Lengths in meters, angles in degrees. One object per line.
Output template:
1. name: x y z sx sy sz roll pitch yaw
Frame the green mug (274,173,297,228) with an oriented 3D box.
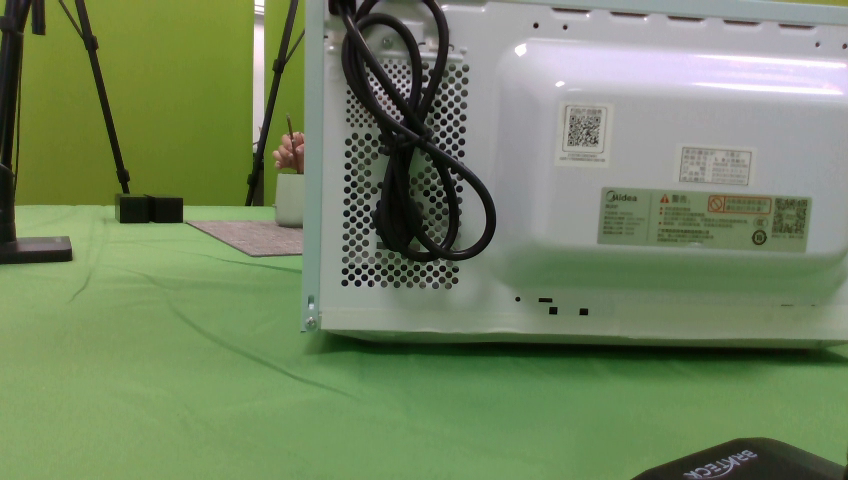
1. green mug: -0.242 -0.081 1.221 0.092 0.105 0.126 8 9 40

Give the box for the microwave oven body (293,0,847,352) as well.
1. microwave oven body: 0.122 -0.055 0.550 0.442 0.260 0.325 3 7 -5

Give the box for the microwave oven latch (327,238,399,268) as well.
1. microwave oven latch: -0.069 0.015 0.694 0.079 0.029 0.030 3 7 -3

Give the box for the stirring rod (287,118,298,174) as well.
1. stirring rod: -0.254 -0.154 1.199 0.006 0.176 0.014 -9 11 -4

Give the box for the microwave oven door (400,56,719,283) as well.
1. microwave oven door: 0.155 -0.078 0.697 0.356 0.243 0.039 2 8 -5
